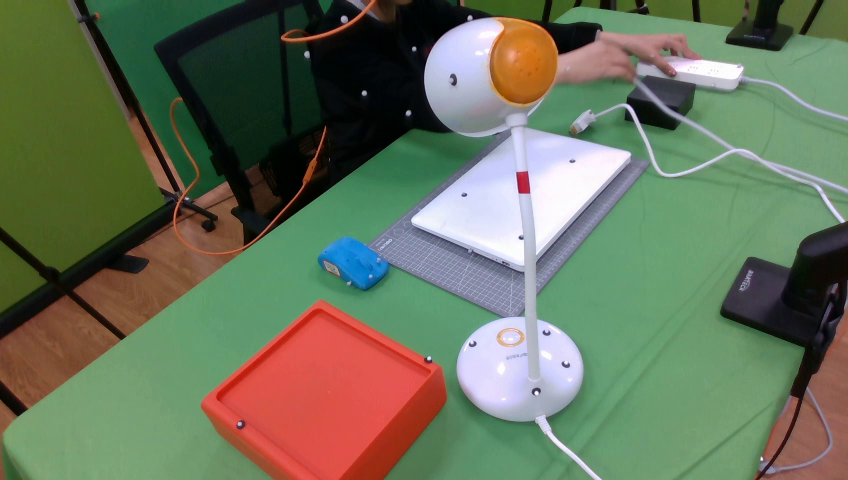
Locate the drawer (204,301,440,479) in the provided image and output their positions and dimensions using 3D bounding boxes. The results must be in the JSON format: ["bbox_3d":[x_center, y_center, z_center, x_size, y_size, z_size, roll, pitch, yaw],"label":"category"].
[{"bbox_3d":[-0.119,0.193,0.735,0.210,0.073,0.195,23,49,32],"label":"drawer"}]

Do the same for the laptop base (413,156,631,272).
[{"bbox_3d":[0.176,-0.084,1.055,0.233,0.023,0.355,21,48,36],"label":"laptop base"}]

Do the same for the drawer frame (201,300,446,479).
[{"bbox_3d":[-0.117,0.193,0.733,0.212,0.083,0.202,23,48,32],"label":"drawer frame"}]

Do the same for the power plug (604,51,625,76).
[{"bbox_3d":[0.369,-0.346,1.159,0.035,0.072,0.052,-26,79,-9],"label":"power plug"}]

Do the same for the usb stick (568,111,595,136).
[{"bbox_3d":[0.309,-0.228,1.189,0.059,0.021,0.027,-45,15,-18],"label":"usb stick"}]

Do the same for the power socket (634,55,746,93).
[{"bbox_3d":[0.564,-0.358,1.295,0.225,0.033,0.072,20,49,31],"label":"power socket"}]

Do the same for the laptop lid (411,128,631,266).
[{"bbox_3d":[0.172,-0.093,1.049,0.239,0.013,0.358,23,49,36],"label":"laptop lid"}]

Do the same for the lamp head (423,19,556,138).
[{"bbox_3d":[0.069,-0.151,0.563,0.113,0.113,0.122,-21,18,-13],"label":"lamp head"}]

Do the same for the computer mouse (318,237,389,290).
[{"bbox_3d":[-0.113,0.033,0.959,0.116,0.041,0.063,28,51,31],"label":"computer mouse"}]

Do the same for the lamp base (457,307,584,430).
[{"bbox_3d":[0.115,0.108,0.713,0.161,0.181,0.178,-16,43,-8],"label":"lamp base"}]
